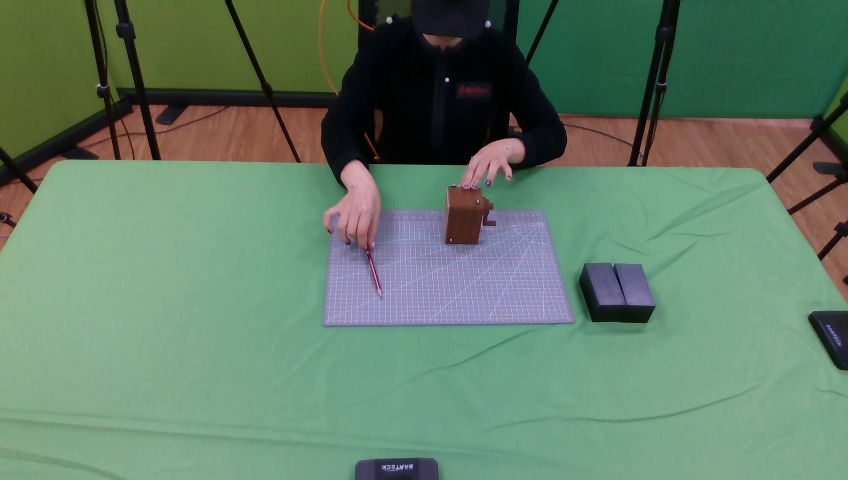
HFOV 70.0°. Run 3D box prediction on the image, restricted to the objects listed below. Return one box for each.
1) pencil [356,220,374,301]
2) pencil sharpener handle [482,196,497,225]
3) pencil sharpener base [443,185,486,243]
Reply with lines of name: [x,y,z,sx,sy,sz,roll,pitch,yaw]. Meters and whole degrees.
pencil: [-0.112,0.037,1.156,0.012,0.012,0.192,-8,51,-10]
pencil sharpener handle: [0.130,-0.056,1.182,0.031,0.068,0.036,2,43,-3]
pencil sharpener base: [0.078,-0.049,1.188,0.077,0.107,0.061,2,46,-3]
